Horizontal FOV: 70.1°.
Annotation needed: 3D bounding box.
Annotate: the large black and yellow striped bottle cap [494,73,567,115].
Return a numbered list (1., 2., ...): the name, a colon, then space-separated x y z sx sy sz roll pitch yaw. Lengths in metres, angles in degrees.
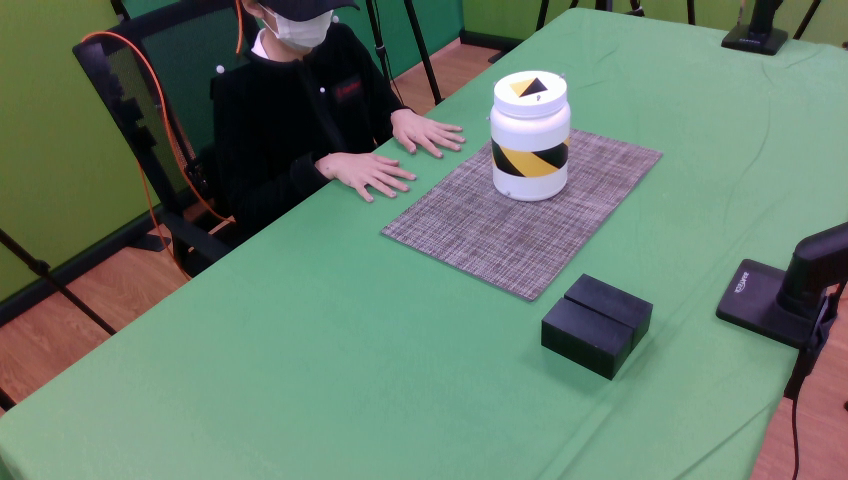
1. large black and yellow striped bottle cap: 0.169 -0.235 0.964 0.115 0.019 0.114 -5 39 5

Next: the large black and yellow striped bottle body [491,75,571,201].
1. large black and yellow striped bottle body: 0.179 -0.172 1.019 0.131 0.185 0.130 -5 41 5
